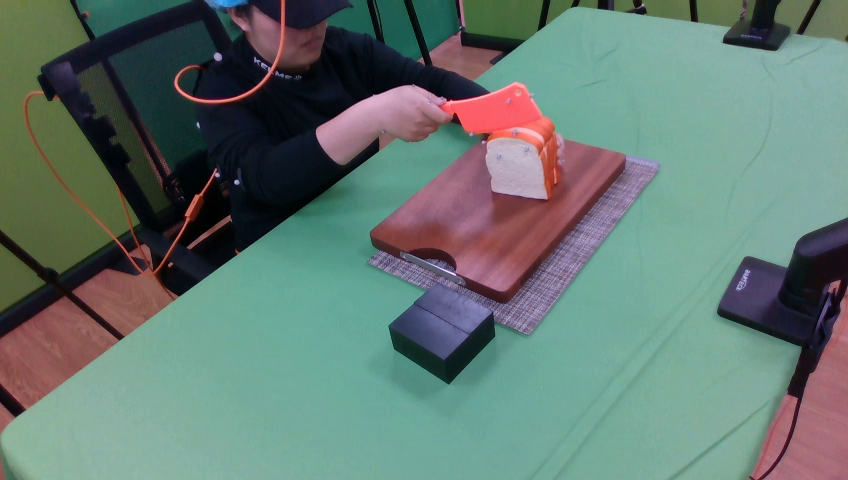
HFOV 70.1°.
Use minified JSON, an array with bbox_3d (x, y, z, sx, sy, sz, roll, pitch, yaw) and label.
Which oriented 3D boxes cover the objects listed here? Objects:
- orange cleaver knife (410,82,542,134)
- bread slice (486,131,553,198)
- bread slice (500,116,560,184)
[{"bbox_3d":[0.078,-0.197,0.940,0.210,0.078,0.012,-2,45,30],"label":"orange cleaver knife"},{"bbox_3d":[0.149,-0.120,0.974,0.104,0.132,0.019,9,53,26],"label":"bread slice"},{"bbox_3d":[0.174,-0.151,1.005,0.106,0.135,0.018,13,50,21],"label":"bread slice"}]
